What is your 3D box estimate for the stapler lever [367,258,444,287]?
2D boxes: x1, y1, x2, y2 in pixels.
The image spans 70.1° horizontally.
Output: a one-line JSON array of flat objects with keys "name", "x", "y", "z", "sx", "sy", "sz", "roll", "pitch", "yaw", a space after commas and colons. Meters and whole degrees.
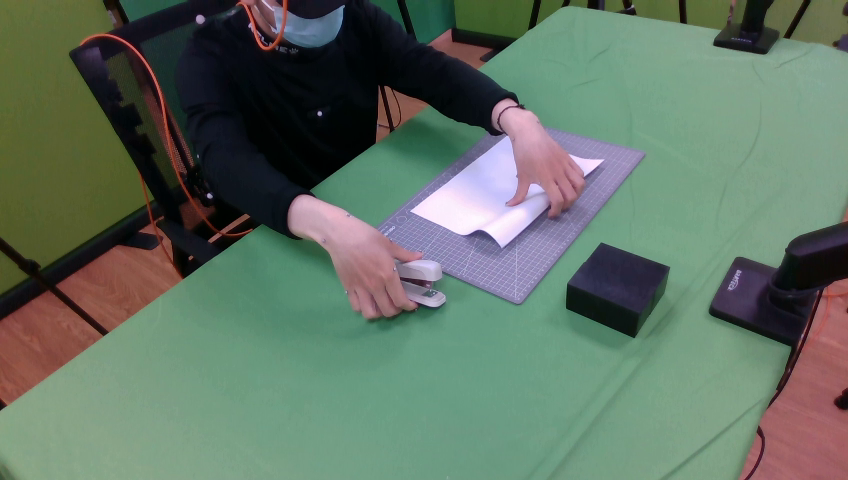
[{"name": "stapler lever", "x": -0.027, "y": 0.039, "z": 0.882, "sx": 0.117, "sy": 0.040, "sz": 0.027, "roll": 14, "pitch": 13, "yaw": 25}]

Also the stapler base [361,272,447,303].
[{"name": "stapler base", "x": -0.028, "y": 0.063, "z": 0.888, "sx": 0.130, "sy": 0.024, "sz": 0.041, "roll": 13, "pitch": 12, "yaw": 25}]
